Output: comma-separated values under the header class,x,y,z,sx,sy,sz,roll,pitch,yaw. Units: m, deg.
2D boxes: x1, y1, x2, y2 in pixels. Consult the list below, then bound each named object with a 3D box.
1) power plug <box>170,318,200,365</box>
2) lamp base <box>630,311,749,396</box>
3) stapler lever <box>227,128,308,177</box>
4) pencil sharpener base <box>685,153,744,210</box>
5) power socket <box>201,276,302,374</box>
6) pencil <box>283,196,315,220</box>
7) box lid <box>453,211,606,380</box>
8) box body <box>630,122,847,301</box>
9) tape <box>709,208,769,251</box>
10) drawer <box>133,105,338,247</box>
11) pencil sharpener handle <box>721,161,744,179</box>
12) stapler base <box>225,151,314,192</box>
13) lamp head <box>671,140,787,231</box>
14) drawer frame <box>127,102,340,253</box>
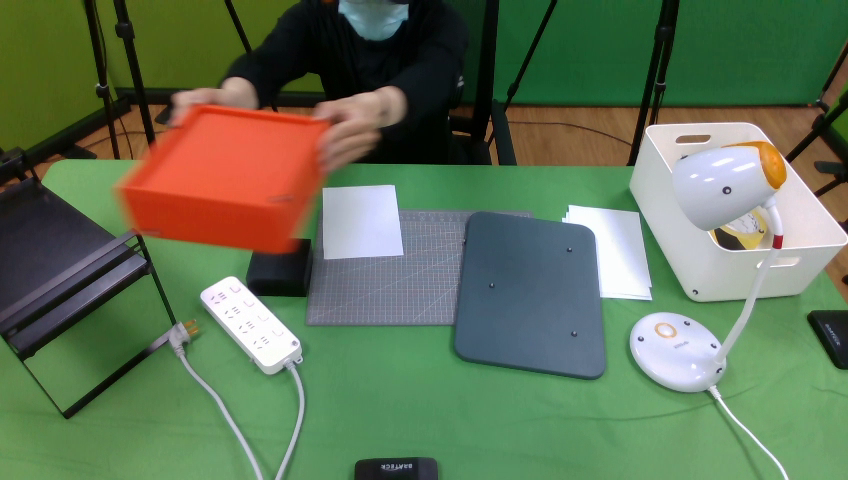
class,x,y,z,sx,sy,sz,roll,pitch,yaw
power plug,-0.392,0.167,1.014,0.052,0.035,0.072,-30,89,-23
lamp base,0.447,0.143,0.983,0.161,0.181,0.178,-24,55,-24
stapler lever,-0.217,-0.121,0.830,0.118,0.040,0.027,19,47,17
pencil sharpener base,0.619,-0.124,1.293,0.077,0.107,0.061,-8,47,-12
power socket,-0.297,0.141,1.034,0.072,0.033,0.225,-34,58,-30
pencil,-0.218,-0.083,0.822,0.193,0.012,0.012,36,54,19
box lid,0.200,0.085,1.137,0.263,0.015,0.369,8,47,3
box body,0.594,-0.062,1.202,0.254,0.161,0.361,-4,47,-7
tape,0.633,-0.025,1.238,0.117,0.053,0.116,1,46,-1
drawer,-0.235,-0.090,0.801,0.194,0.073,0.210,8,42,5
pencil sharpener handle,0.668,-0.147,1.299,0.031,0.068,0.036,-8,78,-12
stapler base,-0.219,-0.103,0.846,0.130,0.024,0.041,20,47,17
lamp head,0.415,-0.078,0.811,0.113,0.123,0.112,12,70,-37
drawer frame,-0.234,-0.090,0.797,0.201,0.083,0.212,7,42,4
